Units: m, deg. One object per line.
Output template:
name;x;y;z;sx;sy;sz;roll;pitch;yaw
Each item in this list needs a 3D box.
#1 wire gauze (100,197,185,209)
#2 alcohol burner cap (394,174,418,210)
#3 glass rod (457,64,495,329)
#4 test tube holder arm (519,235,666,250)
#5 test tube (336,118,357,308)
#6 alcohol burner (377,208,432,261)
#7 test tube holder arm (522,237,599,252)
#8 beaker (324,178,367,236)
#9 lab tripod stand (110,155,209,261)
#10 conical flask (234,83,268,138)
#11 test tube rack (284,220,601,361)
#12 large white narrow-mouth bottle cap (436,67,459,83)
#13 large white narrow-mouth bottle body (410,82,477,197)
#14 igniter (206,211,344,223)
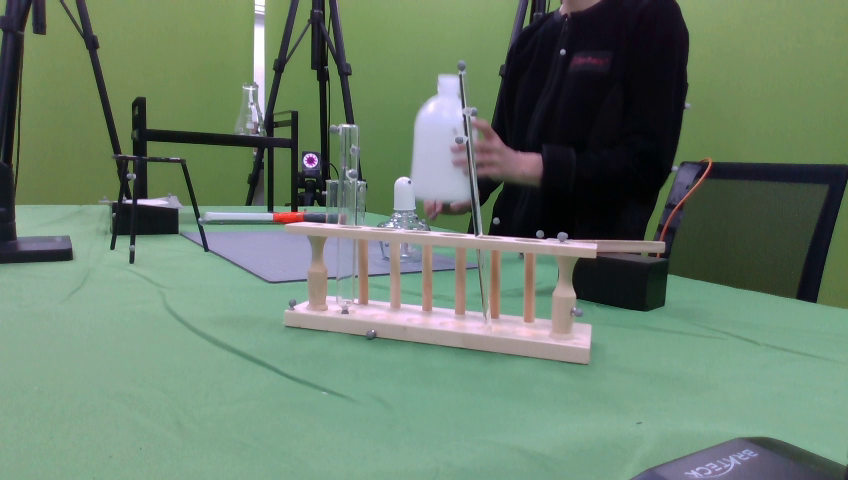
wire gauze;-0.469;-0.062;1.008;0.126;0.011;0.121;-2;8;-25
alcohol burner cap;-0.026;-0.067;0.834;0.034;0.048;0.034;-1;12;1
glass rod;0.040;-0.029;0.449;0.008;0.199;0.008;-7;9;1
test tube holder arm;0.186;0.003;0.656;0.179;0.015;0.013;-1;16;-19
test tube;-0.061;-0.019;0.476;0.017;0.150;0.017;2;11;0
alcohol burner;-0.027;-0.031;0.838;0.078;0.119;0.078;0;6;0
test tube holder arm;0.144;0.005;0.636;0.088;0.015;0.010;-1;16;-19
beaker;-0.139;-0.060;1.083;0.074;0.100;0.083;-3;9;-31
lab tripod stand;-0.361;-0.046;0.806;0.148;0.131;0.148;2;5;0
conical flask;-0.400;-0.298;1.396;0.075;0.122;0.075;2;8;0
test tube rack;0.013;0.032;0.482;0.242;0.085;0.067;4;7;16
large white narrow-mouth bottle cap;0.037;-0.254;0.936;0.038;0.024;0.037;4;10;0
large white narrow-mouth bottle body;0.032;-0.170;0.952;0.102;0.194;0.101;4;10;0
igniter;-0.302;-0.048;1.249;0.278;0.025;0.057;-2;-2;-27
